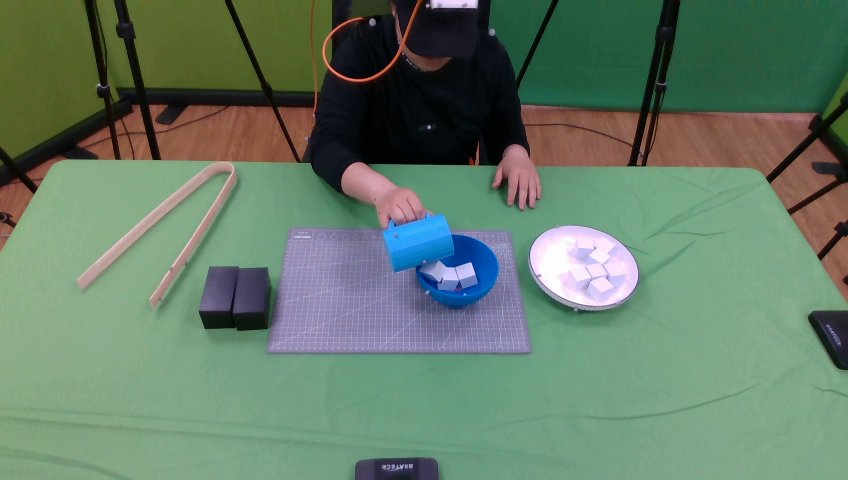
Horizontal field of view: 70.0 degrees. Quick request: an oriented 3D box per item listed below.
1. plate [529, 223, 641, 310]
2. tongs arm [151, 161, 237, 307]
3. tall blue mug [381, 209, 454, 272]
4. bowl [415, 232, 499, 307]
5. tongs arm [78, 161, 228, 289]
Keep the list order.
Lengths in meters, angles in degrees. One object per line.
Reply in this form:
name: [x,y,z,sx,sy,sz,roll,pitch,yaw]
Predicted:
plate: [0.303,0.053,1.156,0.209,0.038,0.208,2,46,-1]
tongs arm: [-0.447,-0.026,1.180,0.051,0.027,0.383,8,46,10]
tall blue mug: [-0.016,-0.010,1.043,0.108,0.078,0.107,-17,76,-7]
bowl: [0.057,0.067,1.093,0.151,0.077,0.150,2,46,-2]
tongs arm: [-0.524,-0.043,1.196,0.028,0.028,0.386,15,47,22]
